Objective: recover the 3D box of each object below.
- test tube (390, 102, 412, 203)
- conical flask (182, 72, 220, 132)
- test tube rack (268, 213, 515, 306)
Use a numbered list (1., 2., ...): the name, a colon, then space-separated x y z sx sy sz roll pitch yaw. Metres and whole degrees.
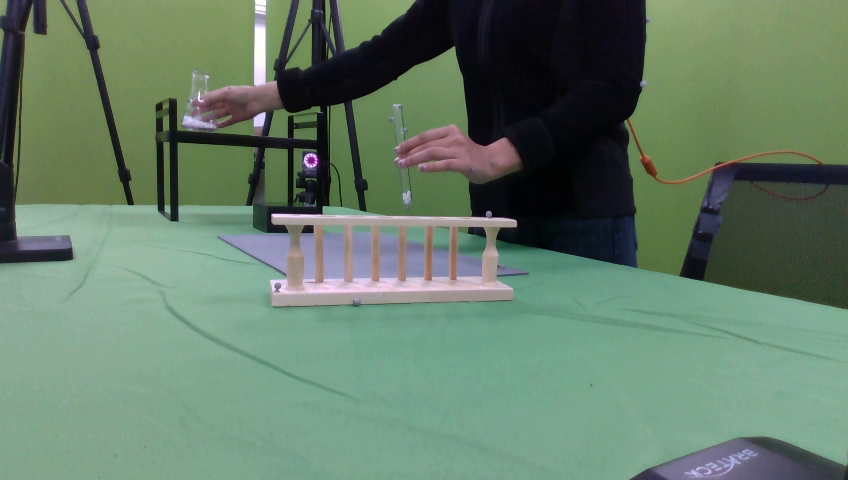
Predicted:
1. test tube: -0.034 -0.130 0.904 0.017 0.150 0.017 -7 6 1
2. conical flask: -0.474 -0.293 1.288 0.075 0.122 0.075 3 6 0
3. test tube rack: -0.033 0.015 0.617 0.243 0.085 0.066 0 7 -17
